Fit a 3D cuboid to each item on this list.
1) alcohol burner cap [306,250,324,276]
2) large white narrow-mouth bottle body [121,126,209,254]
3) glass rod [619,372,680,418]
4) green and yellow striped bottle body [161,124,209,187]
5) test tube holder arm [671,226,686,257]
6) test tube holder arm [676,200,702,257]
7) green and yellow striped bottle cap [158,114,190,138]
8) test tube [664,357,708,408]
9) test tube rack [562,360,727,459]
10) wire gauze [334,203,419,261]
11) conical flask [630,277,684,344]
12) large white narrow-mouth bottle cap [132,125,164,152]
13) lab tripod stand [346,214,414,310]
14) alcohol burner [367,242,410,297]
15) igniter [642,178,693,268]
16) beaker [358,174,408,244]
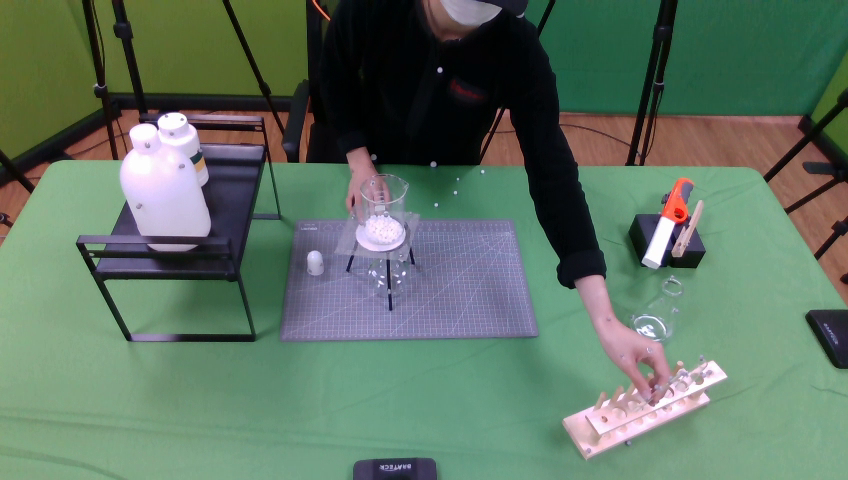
[{"bbox_3d":[-0.204,0.040,1.125,0.034,0.048,0.033,2,46,-2],"label":"alcohol burner cap"},{"bbox_3d":[-0.377,-0.077,0.875,0.102,0.195,0.101,3,46,-3],"label":"large white narrow-mouth bottle body"},{"bbox_3d":[0.312,0.227,0.860,0.008,0.200,0.008,5,55,-7],"label":"glass rod"},{"bbox_3d":[-0.395,-0.145,0.989,0.063,0.120,0.063,2,46,-2],"label":"green and yellow striped bottle body"},{"bbox_3d":[0.494,0.001,1.166,0.010,0.015,0.087,0,35,42],"label":"test tube holder arm"},{"bbox_3d":[0.522,-0.025,1.190,0.013,0.015,0.178,-1,35,41],"label":"test tube holder arm"},{"bbox_3d":[-0.393,-0.179,0.951,0.045,0.020,0.045,2,44,-2],"label":"green and yellow striped bottle cap"},{"bbox_3d":[0.387,0.216,0.905,0.017,0.151,0.017,1,52,-1],"label":"test tube"},{"bbox_3d":[0.341,0.247,0.940,0.243,0.085,0.066,-16,49,-18],"label":"test tube rack"},{"bbox_3d":[-0.079,-0.013,1.031,0.121,0.011,0.124,8,48,7],"label":"wire gauze"},{"bbox_3d":[0.408,0.117,1.045,0.075,0.122,0.075,2,46,-2],"label":"conical flask"},{"bbox_3d":[-0.370,-0.137,0.813,0.038,0.024,0.037,3,46,-3],"label":"large white narrow-mouth bottle cap"},{"bbox_3d":[-0.075,0.030,1.082,0.148,0.132,0.147,1,47,-1],"label":"lab tripod stand"},{"bbox_3d":[-0.064,0.047,1.080,0.078,0.120,0.077,1,47,-1],"label":"alcohol burner"},{"bbox_3d":[0.488,-0.042,1.205,0.057,0.025,0.276,30,52,11],"label":"igniter"},{"bbox_3d":[-0.066,-0.050,1.000,0.084,0.101,0.073,-18,49,-20],"label":"beaker"}]
